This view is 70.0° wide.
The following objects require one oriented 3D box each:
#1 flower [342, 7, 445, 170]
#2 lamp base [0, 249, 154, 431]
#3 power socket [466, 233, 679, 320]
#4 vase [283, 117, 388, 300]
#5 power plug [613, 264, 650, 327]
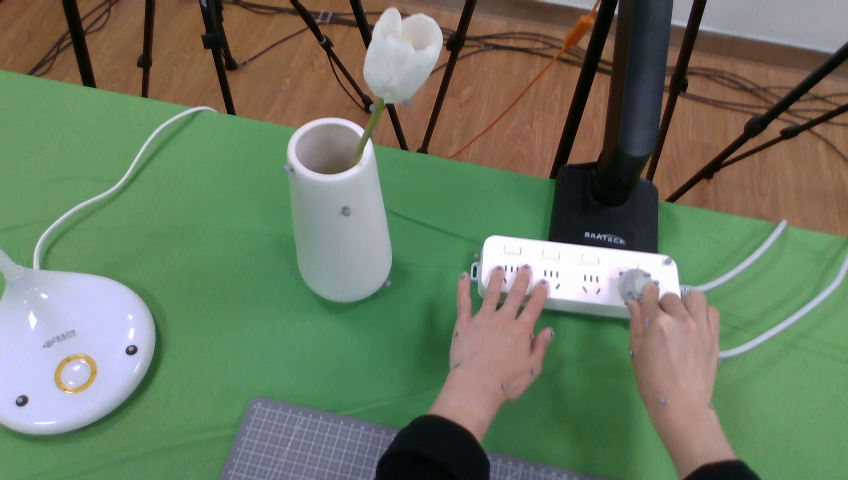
[{"bbox_3d":[-0.064,-0.057,0.501,0.044,0.362,0.038,-27,80,-28],"label":"flower"},{"bbox_3d":[-0.349,0.054,0.521,0.160,0.182,0.177,-38,64,-24],"label":"lamp base"},{"bbox_3d":[0.160,0.039,0.650,0.227,0.033,0.071,7,58,1],"label":"power socket"},{"bbox_3d":[-0.085,-0.023,0.576,0.098,0.201,0.097,1,57,-1],"label":"vase"},{"bbox_3d":[0.207,0.058,0.614,0.035,0.053,0.072,18,64,8],"label":"power plug"}]
